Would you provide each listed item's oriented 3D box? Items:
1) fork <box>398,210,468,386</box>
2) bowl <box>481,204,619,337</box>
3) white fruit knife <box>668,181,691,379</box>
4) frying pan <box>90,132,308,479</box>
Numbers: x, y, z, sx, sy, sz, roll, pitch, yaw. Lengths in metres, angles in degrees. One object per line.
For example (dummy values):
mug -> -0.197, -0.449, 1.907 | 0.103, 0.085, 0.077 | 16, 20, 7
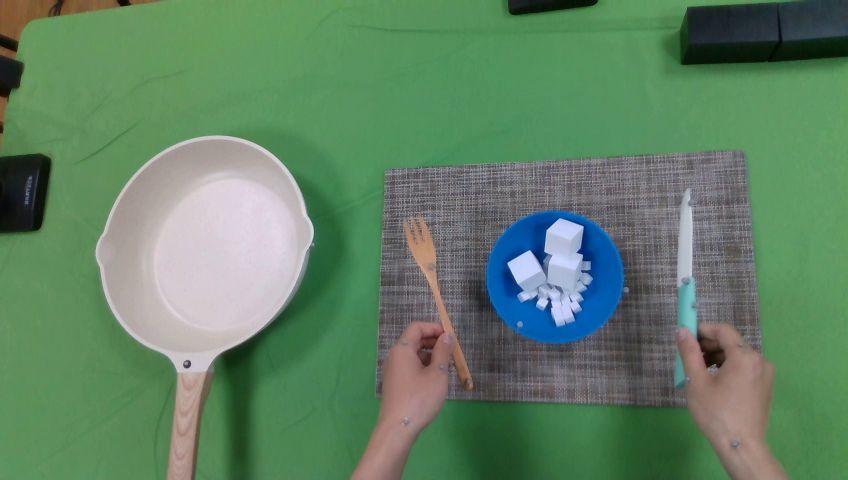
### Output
fork -> 0.012, 0.064, 0.682 | 0.028, 0.019, 0.206 | -19, 79, -1
bowl -> 0.145, 0.041, 0.705 | 0.151, 0.077, 0.150 | -2, 77, 11
white fruit knife -> 0.264, 0.041, 0.628 | 0.016, 0.027, 0.207 | 4, 83, -18
frying pan -> -0.290, 0.100, 0.771 | 0.306, 0.103, 0.484 | -4, 69, 11
